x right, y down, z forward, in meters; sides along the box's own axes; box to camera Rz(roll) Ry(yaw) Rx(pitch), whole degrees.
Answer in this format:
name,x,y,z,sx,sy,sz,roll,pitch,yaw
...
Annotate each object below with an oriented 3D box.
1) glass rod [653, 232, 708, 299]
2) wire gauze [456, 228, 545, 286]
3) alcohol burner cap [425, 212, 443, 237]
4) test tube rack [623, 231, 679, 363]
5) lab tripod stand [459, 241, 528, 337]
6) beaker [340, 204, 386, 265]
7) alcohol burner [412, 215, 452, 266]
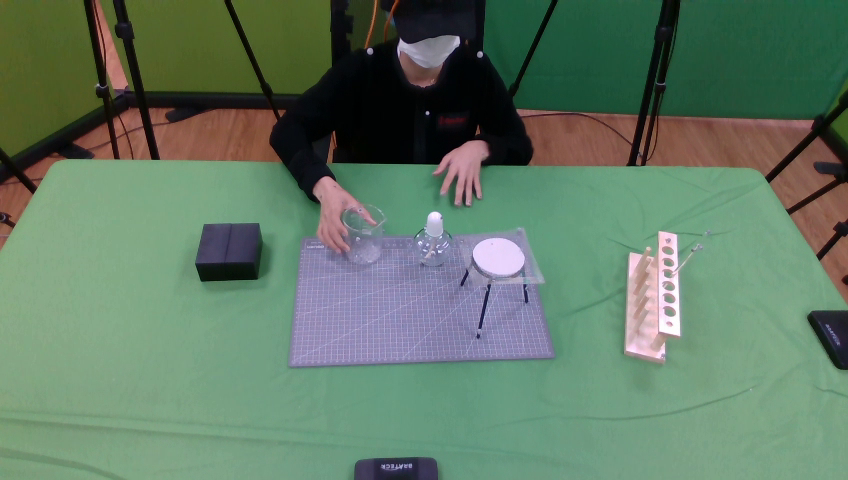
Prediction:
name,x,y,z,sx,sy,sz,roll,pitch,yaw
glass rod,0.441,0.049,1.050,0.008,0.200,0.008,4,52,-5
wire gauze,0.126,0.029,1.006,0.125,0.011,0.120,-4,46,-10
alcohol burner cap,0.019,-0.032,1.114,0.034,0.048,0.033,0,48,0
test tube rack,0.410,0.094,1.096,0.066,0.085,0.241,13,46,9
lab tripod stand,0.122,0.075,1.054,0.148,0.132,0.147,3,44,-3
beaker,-0.114,-0.008,1.140,0.084,0.101,0.073,-2,46,-7
alcohol burner,0.017,-0.006,1.139,0.078,0.119,0.077,2,48,-2
